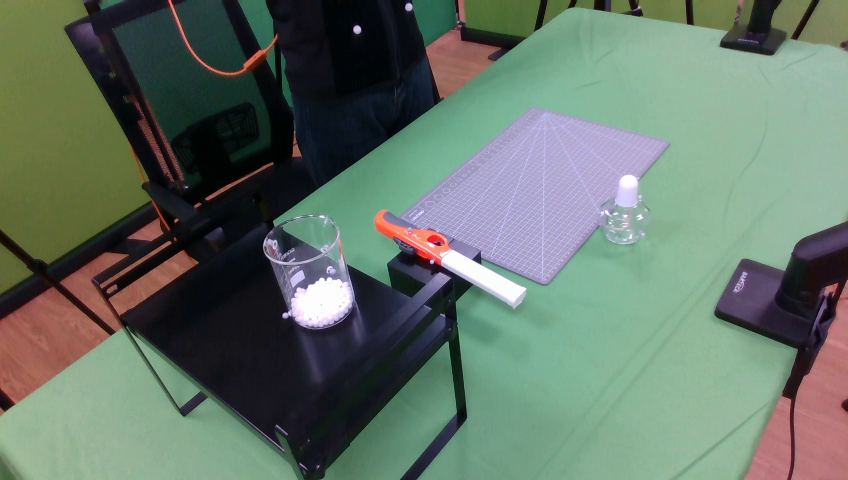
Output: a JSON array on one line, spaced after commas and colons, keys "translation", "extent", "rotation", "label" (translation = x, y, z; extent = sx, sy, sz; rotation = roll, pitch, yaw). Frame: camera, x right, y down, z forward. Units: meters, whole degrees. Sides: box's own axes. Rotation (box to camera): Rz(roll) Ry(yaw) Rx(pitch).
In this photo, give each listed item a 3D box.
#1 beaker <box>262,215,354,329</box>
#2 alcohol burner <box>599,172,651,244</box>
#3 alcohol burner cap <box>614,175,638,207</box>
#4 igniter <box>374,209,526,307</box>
[{"translation": [-0.112, 0.034, 0.616], "extent": [0.073, 0.101, 0.084], "rotation": [13, 44, 23], "label": "beaker"}, {"translation": [0.307, -0.052, 0.920], "extent": [0.078, 0.119, 0.077], "rotation": [-6, 42, 6], "label": "alcohol burner"}, {"translation": [0.303, -0.076, 0.901], "extent": [0.034, 0.048, 0.033], "rotation": [-4, 43, 5], "label": "alcohol burner cap"}, {"translation": [0.026, 0.019, 0.873], "extent": [0.274, 0.025, 0.057], "rotation": [29, 52, 31], "label": "igniter"}]
